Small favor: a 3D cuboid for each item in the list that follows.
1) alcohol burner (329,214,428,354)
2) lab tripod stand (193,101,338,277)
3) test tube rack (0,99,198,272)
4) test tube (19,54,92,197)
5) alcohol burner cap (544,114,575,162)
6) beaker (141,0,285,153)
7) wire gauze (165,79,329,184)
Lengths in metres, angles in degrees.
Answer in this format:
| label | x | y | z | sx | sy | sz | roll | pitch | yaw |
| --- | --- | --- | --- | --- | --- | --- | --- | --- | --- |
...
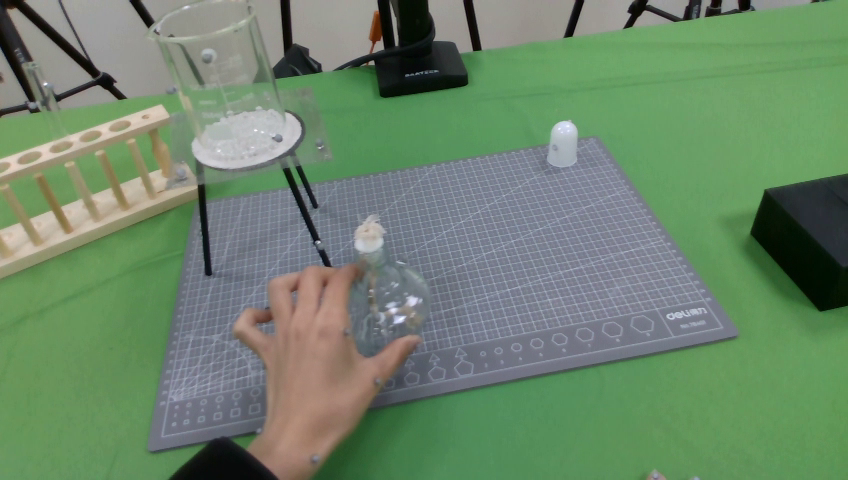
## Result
| label | x | y | z | sx | sy | sz | roll | pitch | yaw |
| --- | --- | --- | --- | --- | --- | --- | --- | --- | --- |
| alcohol burner | -0.036 | 0.030 | 0.459 | 0.078 | 0.120 | 0.077 | -3 | 40 | 3 |
| lab tripod stand | -0.140 | -0.041 | 0.534 | 0.148 | 0.133 | 0.147 | -4 | 44 | 4 |
| test tube rack | -0.363 | -0.053 | 0.613 | 0.242 | 0.086 | 0.066 | -27 | 46 | -21 |
| test tube | -0.361 | -0.107 | 0.597 | 0.017 | 0.151 | 0.017 | -1 | 36 | 1 |
| alcohol burner cap | 0.145 | -0.111 | 0.644 | 0.034 | 0.048 | 0.033 | -3 | 42 | 3 |
| beaker | -0.152 | -0.122 | 0.453 | 0.084 | 0.101 | 0.073 | -9 | 42 | -1 |
| wire gauze | -0.146 | -0.089 | 0.489 | 0.125 | 0.011 | 0.120 | -16 | 41 | -6 |
